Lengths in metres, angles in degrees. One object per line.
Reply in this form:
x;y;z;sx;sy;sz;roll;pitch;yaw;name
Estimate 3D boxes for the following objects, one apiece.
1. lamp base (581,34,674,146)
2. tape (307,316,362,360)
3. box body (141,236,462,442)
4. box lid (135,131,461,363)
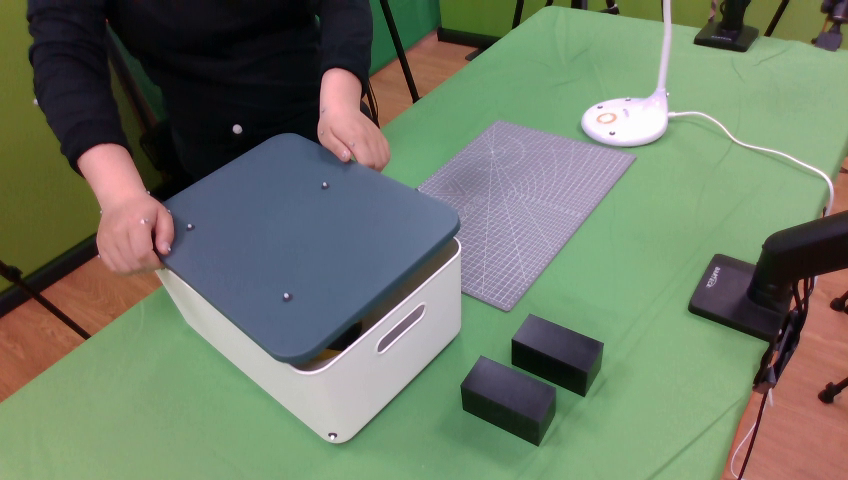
0.392;-0.291;1.129;0.180;0.181;0.159;-11;41;-8;lamp base
-0.144;0.106;0.833;0.117;0.053;0.116;-4;41;4;tape
-0.153;0.063;0.809;0.361;0.161;0.255;27;51;33;box body
-0.163;-0.019;0.731;0.368;0.015;0.264;28;56;36;box lid
